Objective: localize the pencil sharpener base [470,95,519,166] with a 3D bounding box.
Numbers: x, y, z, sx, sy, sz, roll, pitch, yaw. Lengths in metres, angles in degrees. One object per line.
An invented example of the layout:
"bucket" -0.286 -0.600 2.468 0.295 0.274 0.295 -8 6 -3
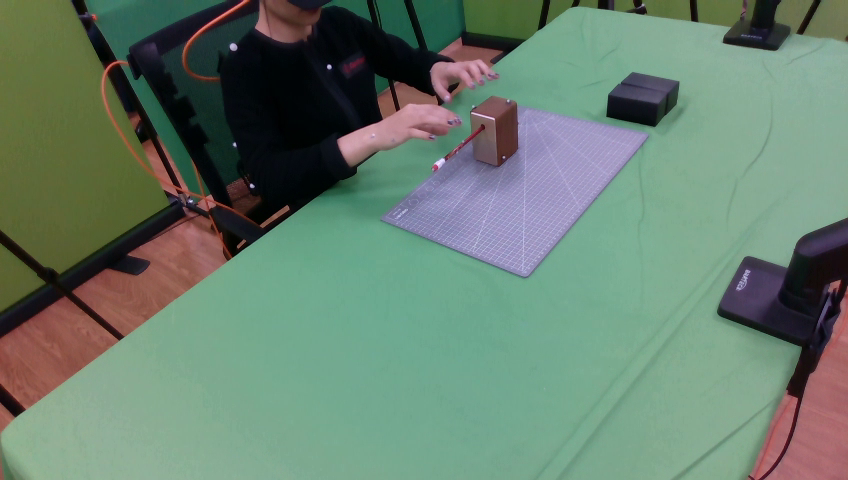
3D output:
"pencil sharpener base" 0.134 -0.206 1.128 0.061 0.107 0.077 23 50 33

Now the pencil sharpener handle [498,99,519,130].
"pencil sharpener handle" 0.165 -0.243 1.148 0.035 0.068 0.031 21 48 35

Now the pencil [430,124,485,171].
"pencil" 0.075 -0.175 1.066 0.012 0.012 0.194 25 52 34
